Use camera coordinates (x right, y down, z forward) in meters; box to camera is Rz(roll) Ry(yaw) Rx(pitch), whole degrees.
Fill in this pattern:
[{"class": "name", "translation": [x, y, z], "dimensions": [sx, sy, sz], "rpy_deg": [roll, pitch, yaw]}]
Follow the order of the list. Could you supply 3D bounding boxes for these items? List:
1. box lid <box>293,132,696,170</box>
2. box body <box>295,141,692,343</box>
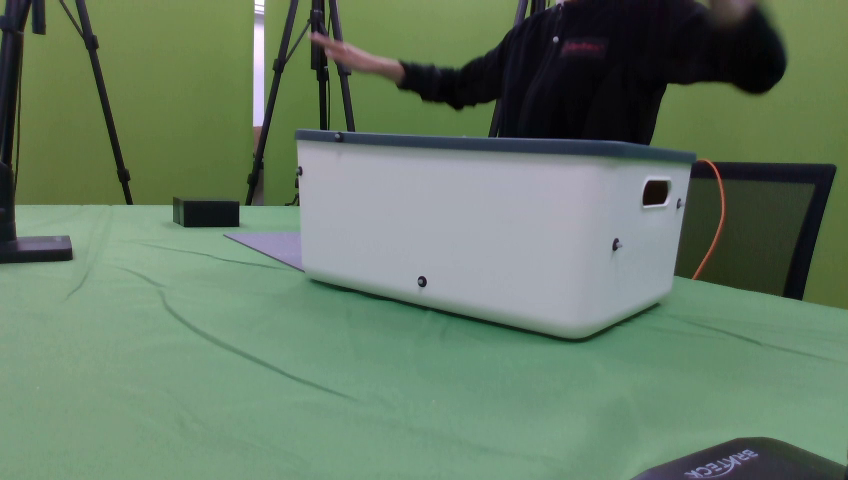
[{"class": "box lid", "translation": [0.069, -0.094, 0.645], "dimensions": [0.369, 0.015, 0.265], "rpy_deg": [9, 9, 37]}, {"class": "box body", "translation": [0.065, -0.020, 0.653], "dimensions": [0.362, 0.160, 0.255], "rpy_deg": [9, 9, 37]}]
